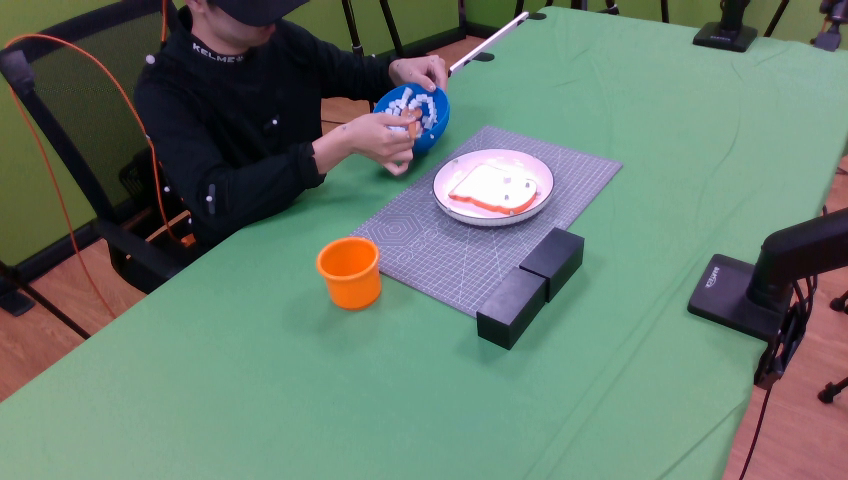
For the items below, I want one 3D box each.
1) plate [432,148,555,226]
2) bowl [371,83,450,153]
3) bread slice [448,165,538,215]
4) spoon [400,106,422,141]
[{"bbox_3d":[0.119,-0.087,1.037,0.209,0.038,0.208,-4,40,4],"label":"plate"},{"bbox_3d":[-0.018,-0.219,1.152,0.151,0.077,0.150,-7,54,11],"label":"bowl"},{"bbox_3d":[0.126,-0.085,1.038,0.133,0.018,0.107,16,45,27],"label":"bread slice"},{"bbox_3d":[-0.023,-0.210,1.081,0.041,0.022,0.193,-5,23,1],"label":"spoon"}]
